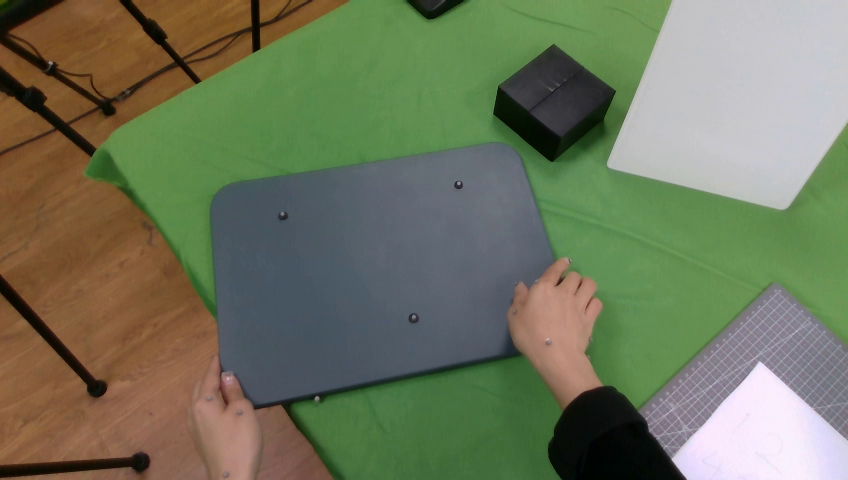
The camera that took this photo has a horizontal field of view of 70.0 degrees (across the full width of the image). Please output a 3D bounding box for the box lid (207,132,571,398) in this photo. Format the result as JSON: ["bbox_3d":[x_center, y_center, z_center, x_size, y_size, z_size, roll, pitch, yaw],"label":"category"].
[{"bbox_3d":[-0.047,0.013,0.667,0.372,0.015,0.261,-11,65,-7],"label":"box lid"}]

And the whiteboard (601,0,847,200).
[{"bbox_3d":[0.352,-0.224,0.664,0.217,0.308,0.143,15,46,6],"label":"whiteboard"}]
